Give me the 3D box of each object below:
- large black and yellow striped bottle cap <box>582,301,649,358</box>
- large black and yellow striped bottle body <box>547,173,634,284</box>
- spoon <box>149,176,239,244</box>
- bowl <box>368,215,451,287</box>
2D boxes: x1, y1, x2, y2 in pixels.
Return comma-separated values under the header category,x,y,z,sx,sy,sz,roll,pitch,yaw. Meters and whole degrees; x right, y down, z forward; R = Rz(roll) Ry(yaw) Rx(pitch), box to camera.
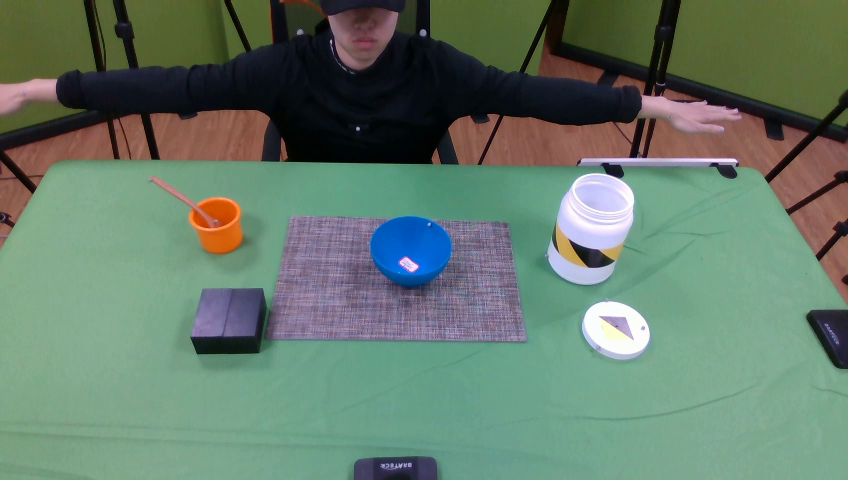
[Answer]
category,x,y,z,sx,sy,sz,roll,pitch,yaw
large black and yellow striped bottle cap,0.340,0.157,1.077,0.115,0.019,0.114,1,47,-1
large black and yellow striped bottle body,0.309,-0.022,1.129,0.131,0.185,0.130,2,46,-2
spoon,-0.427,-0.057,1.132,0.021,0.195,0.041,-27,31,34
bowl,-0.028,0.033,1.120,0.151,0.077,0.150,2,46,-2
